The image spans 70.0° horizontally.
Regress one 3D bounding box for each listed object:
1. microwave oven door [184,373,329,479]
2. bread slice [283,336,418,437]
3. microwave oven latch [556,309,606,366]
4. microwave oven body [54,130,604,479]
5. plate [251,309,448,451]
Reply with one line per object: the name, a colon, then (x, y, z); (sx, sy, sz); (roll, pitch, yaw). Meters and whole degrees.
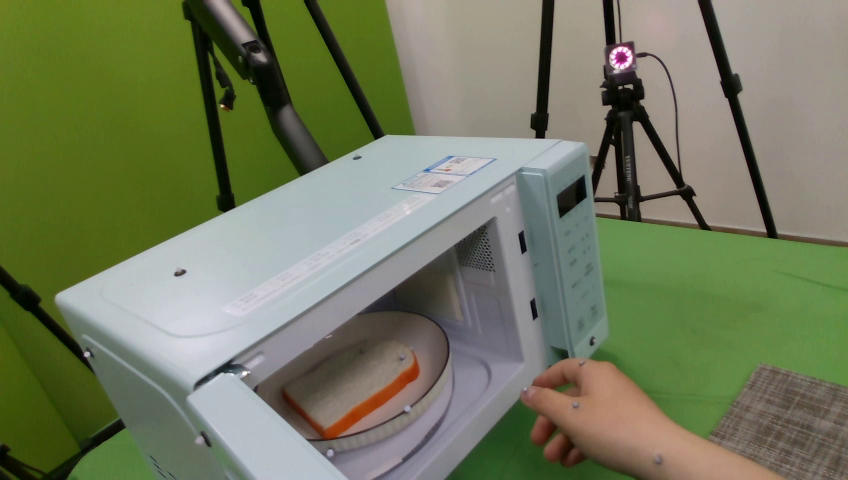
microwave oven door: (0.003, 0.222, 0.284); (0.039, 0.245, 0.352); (-30, 29, -31)
bread slice: (-0.074, 0.147, 0.638); (0.131, 0.019, 0.104); (-32, 31, -28)
microwave oven latch: (0.179, 0.107, 0.688); (0.030, 0.030, 0.079); (12, 36, 43)
microwave oven body: (-0.066, 0.082, 0.639); (0.323, 0.262, 0.441); (11, 35, 42)
plate: (-0.073, 0.144, 0.633); (0.209, 0.038, 0.207); (-12, 24, 6)
